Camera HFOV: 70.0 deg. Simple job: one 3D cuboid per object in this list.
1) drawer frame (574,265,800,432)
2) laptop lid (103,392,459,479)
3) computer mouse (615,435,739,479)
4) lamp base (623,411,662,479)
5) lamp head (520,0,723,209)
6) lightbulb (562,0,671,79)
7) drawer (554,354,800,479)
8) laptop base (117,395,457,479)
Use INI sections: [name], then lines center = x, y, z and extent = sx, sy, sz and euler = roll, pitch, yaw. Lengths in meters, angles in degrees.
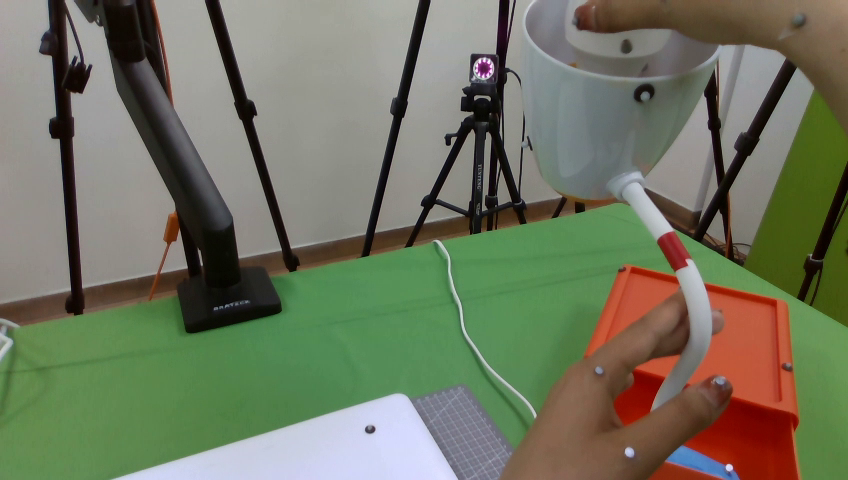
[drawer frame]
center = 0.295, 0.127, 0.684
extent = 0.200, 0.083, 0.213
euler = 13, 29, 21
[laptop lid]
center = -0.131, 0.244, 0.482
extent = 0.358, 0.013, 0.239
euler = -11, 33, -22
[computer mouse]
center = 0.229, 0.215, 0.549
extent = 0.117, 0.041, 0.062
euler = 13, 29, 13
[lamp base]
center = 0.146, 0.218, 0.396
extent = 0.161, 0.181, 0.177
euler = -1, 26, -8
[lamp head]
center = 0.114, -0.080, 0.380
extent = 0.112, 0.124, 0.111
euler = -2, 43, 3
[lightbulb]
center = 0.110, -0.108, 0.362
extent = 0.059, 0.108, 0.059
euler = -1, 43, 1
[drawer]
center = 0.248, 0.176, 0.595
extent = 0.193, 0.074, 0.211
euler = 12, 29, 21
[laptop base]
center = -0.132, 0.253, 0.490
extent = 0.355, 0.023, 0.233
euler = -11, 34, -23
